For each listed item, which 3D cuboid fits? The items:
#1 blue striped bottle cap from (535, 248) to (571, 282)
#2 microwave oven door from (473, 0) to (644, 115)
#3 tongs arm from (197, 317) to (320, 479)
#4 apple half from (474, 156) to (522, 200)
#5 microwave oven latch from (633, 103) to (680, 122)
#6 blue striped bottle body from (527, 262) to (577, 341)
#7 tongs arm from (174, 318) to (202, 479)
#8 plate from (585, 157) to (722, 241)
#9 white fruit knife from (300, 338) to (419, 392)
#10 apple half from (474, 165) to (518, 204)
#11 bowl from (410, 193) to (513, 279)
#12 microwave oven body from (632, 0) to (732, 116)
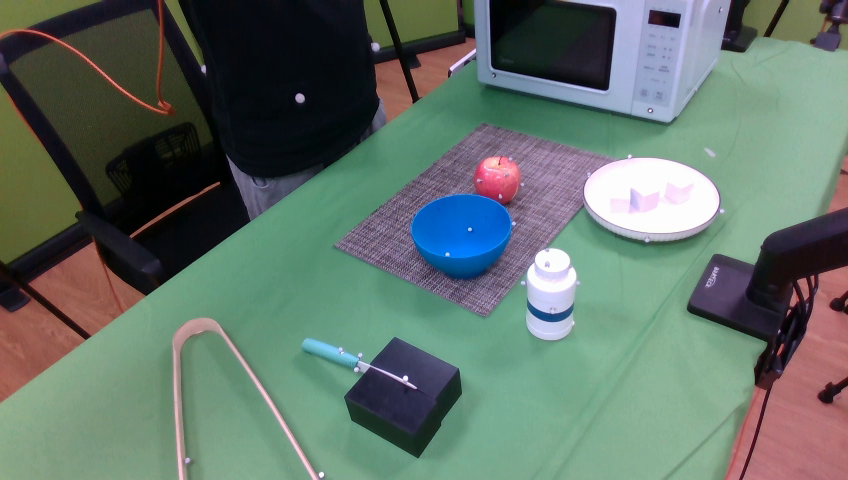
[{"bbox_3d":[0.161,0.031,0.753,0.044,0.021,0.044,-4,42,4],"label":"blue striped bottle cap"},{"bbox_3d":[0.257,-0.396,1.199,0.353,0.245,0.039,21,48,29],"label":"microwave oven door"},{"bbox_3d":[-0.200,0.207,0.750,0.028,0.028,0.384,-31,45,-22],"label":"tongs arm"},{"bbox_3d":[0.130,-0.108,1.031,0.080,0.075,0.053,8,39,22],"label":"apple half"},{"bbox_3d":[0.444,-0.249,1.158,0.078,0.029,0.030,21,49,30],"label":"microwave oven latch"},{"bbox_3d":[0.165,0.070,0.786,0.063,0.121,0.063,-4,41,4],"label":"blue striped bottle body"},{"bbox_3d":[-0.272,0.233,0.723,0.051,0.026,0.381,-19,40,-14],"label":"tongs arm"},{"bbox_3d":[0.367,-0.063,0.979,0.207,0.039,0.206,-4,40,4],"label":"plate"},{"bbox_3d":[-0.087,0.156,0.762,0.206,0.027,0.016,11,44,36],"label":"white fruit knife"},{"bbox_3d":[0.115,-0.084,1.005,0.081,0.081,0.033,11,41,20],"label":"apple half"},{"bbox_3d":[0.058,0.005,0.905,0.151,0.077,0.150,-4,40,4],"label":"bowl"},{"bbox_3d":[0.377,-0.463,1.267,0.438,0.261,0.327,21,49,30],"label":"microwave oven body"}]
